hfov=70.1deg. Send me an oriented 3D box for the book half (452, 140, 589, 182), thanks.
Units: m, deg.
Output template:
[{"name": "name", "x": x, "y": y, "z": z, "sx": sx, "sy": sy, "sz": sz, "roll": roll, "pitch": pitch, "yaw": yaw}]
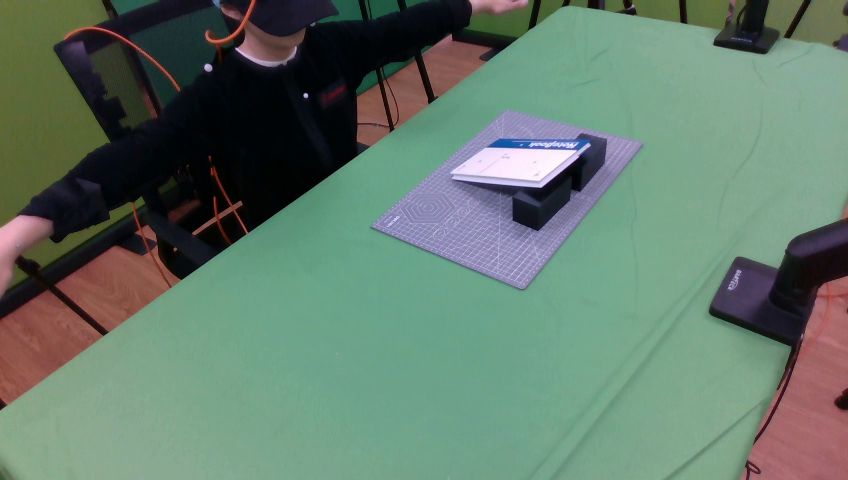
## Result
[{"name": "book half", "x": 0.165, "y": -0.143, "z": 1.065, "sx": 0.144, "sy": 0.007, "sz": 0.208, "roll": -37, "pitch": 30, "yaw": -30}]
